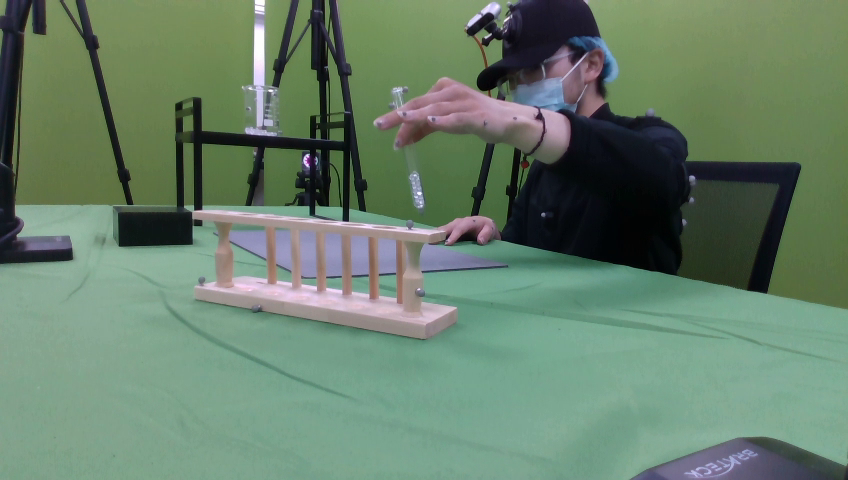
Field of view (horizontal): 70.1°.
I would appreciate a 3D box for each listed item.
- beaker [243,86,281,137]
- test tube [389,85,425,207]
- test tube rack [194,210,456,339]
[{"bbox_3d":[-0.338,-0.265,1.252,0.073,0.100,0.084,8,9,38],"label":"beaker"},{"bbox_3d":[-0.020,-0.113,0.734,0.017,0.150,0.017,-11,0,0],"label":"test tube"},{"bbox_3d":[-0.093,0.023,0.545,0.241,0.085,0.067,6,8,25],"label":"test tube rack"}]
